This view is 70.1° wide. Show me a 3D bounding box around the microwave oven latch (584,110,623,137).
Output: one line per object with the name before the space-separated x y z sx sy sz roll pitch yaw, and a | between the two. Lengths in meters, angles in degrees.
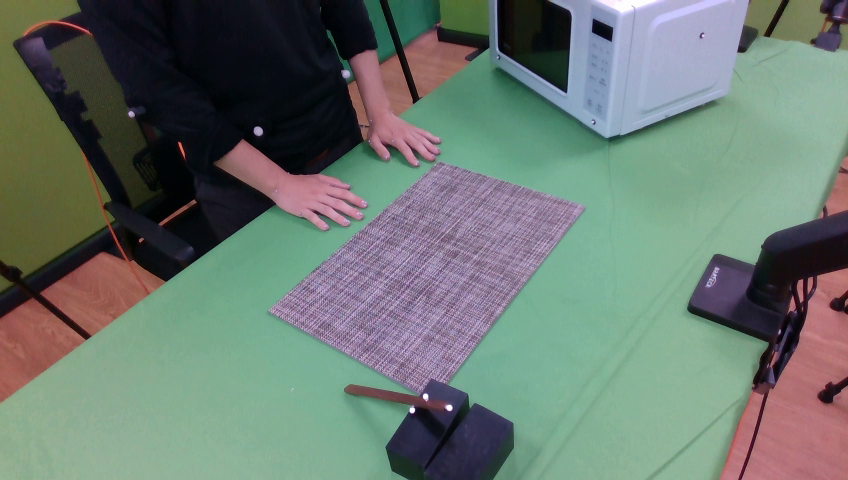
microwave oven latch | 0.337 -0.222 1.142 0.030 0.029 0.078 -21 42 -14

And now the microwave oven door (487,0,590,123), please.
microwave oven door | 0.232 -0.420 1.231 0.039 0.245 0.352 -22 43 -16

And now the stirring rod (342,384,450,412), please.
stirring rod | -0.038 0.186 0.714 0.175 0.006 0.014 -3 22 43

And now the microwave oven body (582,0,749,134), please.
microwave oven body | 0.382 -0.444 1.246 0.327 0.261 0.437 -22 42 -16
